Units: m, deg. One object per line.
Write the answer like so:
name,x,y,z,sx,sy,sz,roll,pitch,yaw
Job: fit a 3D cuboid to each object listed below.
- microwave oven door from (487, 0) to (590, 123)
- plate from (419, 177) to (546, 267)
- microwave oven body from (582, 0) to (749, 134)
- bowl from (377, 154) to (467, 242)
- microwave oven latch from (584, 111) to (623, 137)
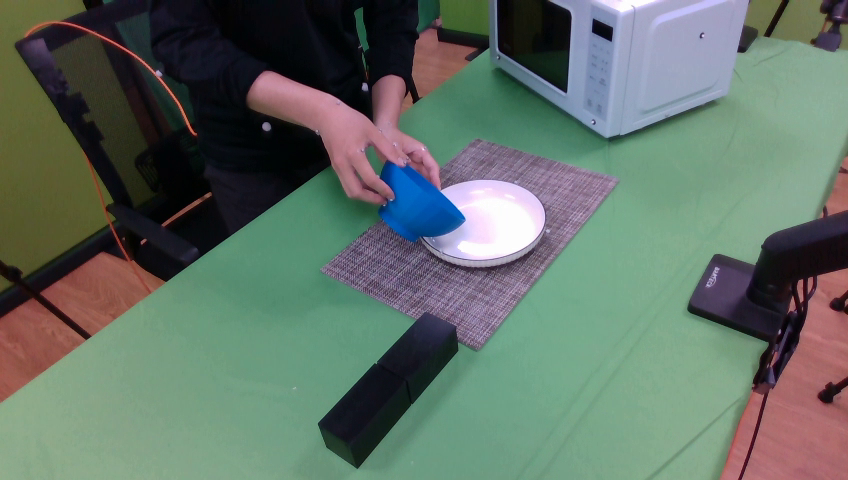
microwave oven door,0.232,-0.420,1.231,0.039,0.245,0.352,-22,43,-16
plate,0.090,-0.026,0.970,0.207,0.039,0.206,-4,41,4
microwave oven body,0.382,-0.445,1.246,0.327,0.261,0.437,-22,42,-16
bowl,-0.017,-0.050,0.901,0.077,0.153,0.150,-49,44,9
microwave oven latch,0.337,-0.222,1.142,0.030,0.029,0.078,-21,42,-14
